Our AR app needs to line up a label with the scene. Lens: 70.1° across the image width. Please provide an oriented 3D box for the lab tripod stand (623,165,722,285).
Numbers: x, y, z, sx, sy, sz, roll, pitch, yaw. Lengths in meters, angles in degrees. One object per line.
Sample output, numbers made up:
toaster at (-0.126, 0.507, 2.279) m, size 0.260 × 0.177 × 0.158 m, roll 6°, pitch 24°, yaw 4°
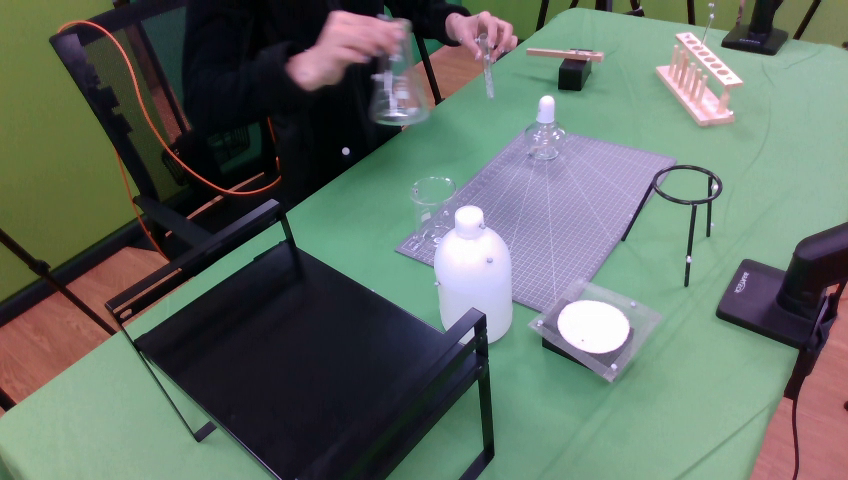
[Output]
lab tripod stand at (0.365, -0.030, 0.875) m, size 0.148 × 0.132 × 0.147 m, roll -6°, pitch 41°, yaw 6°

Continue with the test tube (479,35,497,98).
test tube at (0.113, -0.298, 1.055) m, size 0.017 × 0.151 × 0.017 m, roll -5°, pitch 64°, yaw 10°

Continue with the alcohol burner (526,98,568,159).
alcohol burner at (0.228, -0.210, 1.118) m, size 0.078 × 0.119 × 0.077 m, roll -5°, pitch 43°, yaw 5°

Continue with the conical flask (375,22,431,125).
conical flask at (-0.029, -0.215, 0.778) m, size 0.075 × 0.122 × 0.075 m, roll -1°, pitch 26°, yaw 1°

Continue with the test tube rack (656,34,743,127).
test tube rack at (0.553, -0.331, 1.233) m, size 0.067 × 0.085 × 0.241 m, roll -7°, pitch 40°, yaw 2°

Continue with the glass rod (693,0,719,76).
glass rod at (0.561, -0.401, 1.214) m, size 0.008 × 0.200 × 0.008 m, roll -1°, pitch 48°, yaw 2°

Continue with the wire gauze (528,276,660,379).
wire gauze at (0.214, 0.103, 0.763) m, size 0.124 × 0.011 × 0.122 m, roll 30°, pitch 52°, yaw 35°

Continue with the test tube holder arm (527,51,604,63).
test tube holder arm at (0.311, -0.408, 1.344) m, size 0.177 × 0.015 × 0.013 m, roll 14°, pitch 38°, yaw 30°

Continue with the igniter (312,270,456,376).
igniter at (-0.068, 0.111, 0.859) m, size 0.274 × 0.025 × 0.057 m, roll 27°, pitch 61°, yaw 34°

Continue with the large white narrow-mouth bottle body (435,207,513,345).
large white narrow-mouth bottle body at (0.065, 0.041, 0.791) m, size 0.102 × 0.195 × 0.101 m, roll -4°, pitch 40°, yaw 4°

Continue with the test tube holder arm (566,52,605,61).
test tube holder arm at (0.352, -0.401, 1.325) m, size 0.087 × 0.015 × 0.010 m, roll 15°, pitch 38°, yaw 31°

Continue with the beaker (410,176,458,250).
beaker at (0.022, -0.041, 0.964) m, size 0.073 × 0.101 × 0.084 m, roll 28°, pitch 51°, yaw 35°

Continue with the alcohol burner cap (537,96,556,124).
alcohol burner cap at (0.223, -0.238, 1.095) m, size 0.034 × 0.048 × 0.033 m, roll -2°, pitch 37°, yaw 2°

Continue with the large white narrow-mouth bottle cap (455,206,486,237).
large white narrow-mouth bottle cap at (0.057, -0.023, 0.734) m, size 0.038 × 0.024 × 0.037 m, roll -4°, pitch 40°, yaw 4°
